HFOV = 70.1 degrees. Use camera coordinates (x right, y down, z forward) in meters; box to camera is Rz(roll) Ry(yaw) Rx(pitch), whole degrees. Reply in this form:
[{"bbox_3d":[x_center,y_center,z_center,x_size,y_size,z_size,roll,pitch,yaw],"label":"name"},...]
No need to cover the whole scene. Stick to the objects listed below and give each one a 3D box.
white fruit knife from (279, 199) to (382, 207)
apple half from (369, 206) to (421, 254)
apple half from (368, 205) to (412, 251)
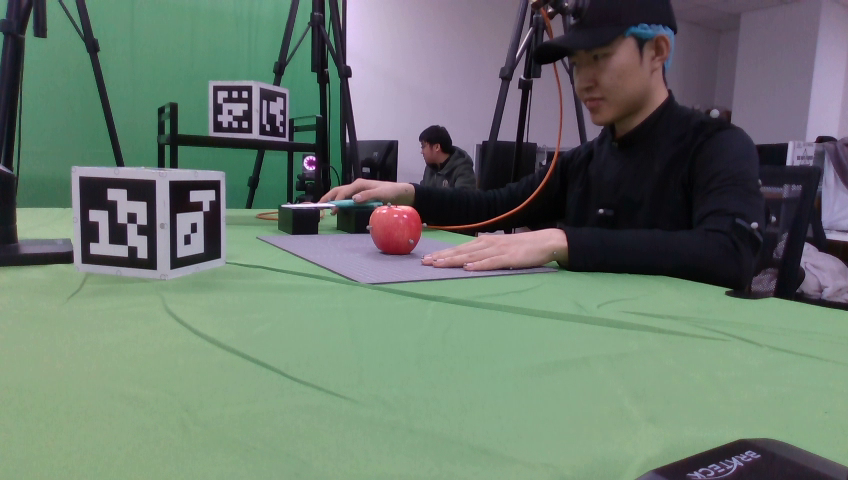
[{"bbox_3d":[-0.182,-0.071,1.188,0.208,0.016,0.027,-2,18,-31],"label":"white fruit knife"},{"bbox_3d":[-0.039,-0.014,0.919,0.081,0.074,0.053,3,10,-32],"label":"apple half"},{"bbox_3d":[-0.059,-0.020,0.951,0.082,0.081,0.032,-2,13,-32],"label":"apple half"}]
